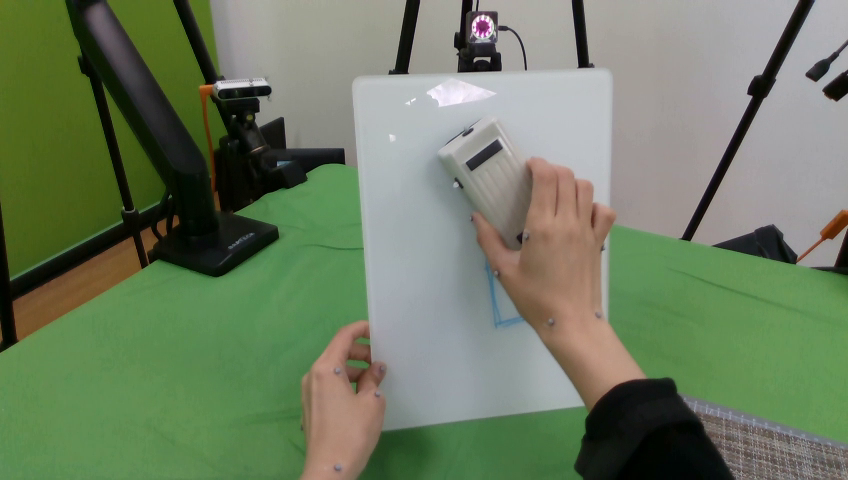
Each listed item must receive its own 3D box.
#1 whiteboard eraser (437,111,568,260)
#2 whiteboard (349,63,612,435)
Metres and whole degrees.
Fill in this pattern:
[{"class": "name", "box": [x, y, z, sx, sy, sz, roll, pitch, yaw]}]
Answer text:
[{"class": "whiteboard eraser", "box": [0.063, -0.043, 0.485, 0.055, 0.113, 0.041, -38, 16, -3]}, {"class": "whiteboard", "box": [0.046, -0.001, 0.579, 0.218, 0.306, 0.143, -5, 12, -8]}]
